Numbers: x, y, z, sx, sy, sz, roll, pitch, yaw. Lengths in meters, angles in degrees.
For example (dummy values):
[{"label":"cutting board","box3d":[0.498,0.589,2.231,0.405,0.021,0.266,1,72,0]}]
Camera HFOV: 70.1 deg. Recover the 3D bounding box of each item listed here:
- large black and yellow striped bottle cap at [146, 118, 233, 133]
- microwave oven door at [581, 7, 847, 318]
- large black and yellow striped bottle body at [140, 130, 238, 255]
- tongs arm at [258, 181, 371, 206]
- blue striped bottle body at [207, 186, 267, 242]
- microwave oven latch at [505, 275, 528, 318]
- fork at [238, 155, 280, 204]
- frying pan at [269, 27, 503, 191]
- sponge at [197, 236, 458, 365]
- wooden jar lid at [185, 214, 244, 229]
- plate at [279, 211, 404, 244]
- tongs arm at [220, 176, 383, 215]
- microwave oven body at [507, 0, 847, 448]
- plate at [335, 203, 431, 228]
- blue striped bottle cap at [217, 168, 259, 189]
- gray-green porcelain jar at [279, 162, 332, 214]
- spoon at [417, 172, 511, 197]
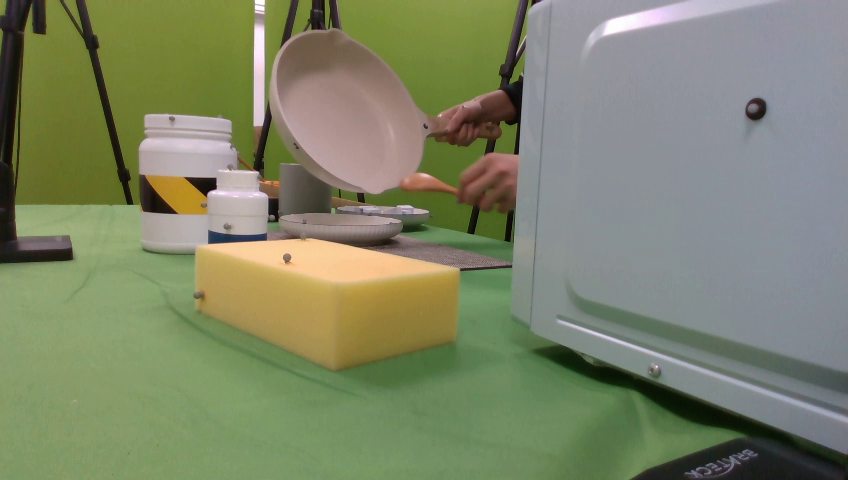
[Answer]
[{"label":"large black and yellow striped bottle cap","box3d":[-0.333,-0.163,0.861,0.115,0.019,0.115,1,9,0]},{"label":"microwave oven door","box3d":[0.295,-0.067,0.569,0.358,0.243,0.039,-3,8,-31]},{"label":"large black and yellow striped bottle body","box3d":[-0.336,-0.078,0.872,0.131,0.184,0.130,2,8,0]},{"label":"tongs arm","box3d":[-0.241,-0.095,1.373,0.387,0.026,0.050,9,0,-37]},{"label":"blue striped bottle body","box3d":[-0.204,-0.016,0.663,0.063,0.120,0.063,2,7,0]},{"label":"microwave oven latch","box3d":[0.100,0.042,0.472,0.079,0.029,0.030,-2,8,-30]},{"label":"fork","box3d":[-0.396,-0.143,1.486,0.028,0.018,0.208,20,-26,45]},{"label":"frying pan","box3d":[-0.046,-0.213,1.075,0.491,0.306,0.102,-2,-19,-34]},{"label":"sponge","box3d":[-0.087,0.039,0.500,0.206,0.061,0.119,8,9,44]},{"label":"wooden jar lid","box3d":[-0.404,-0.037,1.169,0.108,0.020,0.108,3,7,0]},{"label":"plate","box3d":[-0.139,-0.022,1.021,0.209,0.038,0.209,2,8,0]},{"label":"tongs arm","box3d":[-0.285,-0.104,1.445,0.389,0.027,0.028,9,-4,-23]},{"label":"microwave oven body","box3d":[0.331,-0.042,0.425,0.444,0.260,0.324,-2,8,-31]},{"label":"plate","box3d":[-0.089,-0.053,1.309,0.208,0.039,0.207,2,8,0]},{"label":"blue striped bottle cap","box3d":[-0.202,-0.067,0.656,0.044,0.020,0.044,0,10,0]},{"label":"gray-green porcelain jar","box3d":[-0.238,-0.092,1.221,0.106,0.126,0.106,2,7,0]},{"label":"spoon","box3d":[0.081,-0.069,0.839,0.193,0.041,0.022,8,-34,23]}]
